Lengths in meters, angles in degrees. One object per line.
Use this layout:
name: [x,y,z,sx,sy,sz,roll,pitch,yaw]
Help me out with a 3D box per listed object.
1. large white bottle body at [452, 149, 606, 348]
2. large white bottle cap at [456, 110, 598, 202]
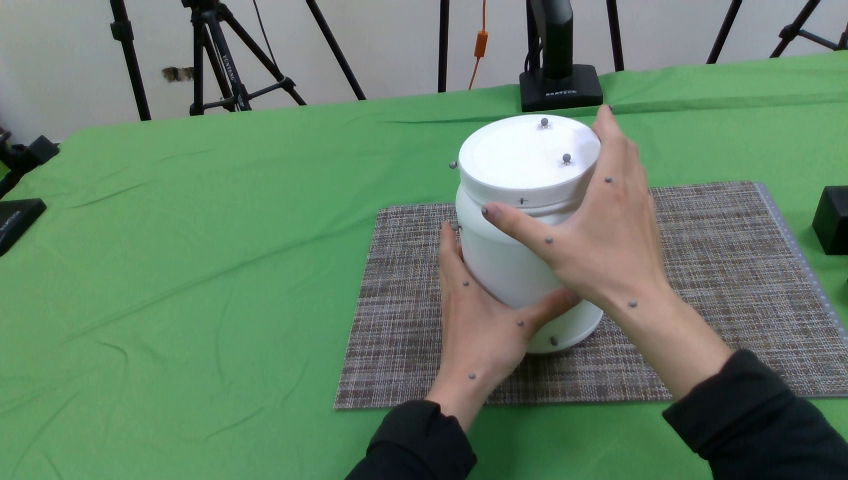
large white bottle body: [0.096,-0.007,0.547,0.130,0.186,0.129,-7,39,6]
large white bottle cap: [0.082,-0.071,0.492,0.115,0.018,0.113,-7,39,6]
